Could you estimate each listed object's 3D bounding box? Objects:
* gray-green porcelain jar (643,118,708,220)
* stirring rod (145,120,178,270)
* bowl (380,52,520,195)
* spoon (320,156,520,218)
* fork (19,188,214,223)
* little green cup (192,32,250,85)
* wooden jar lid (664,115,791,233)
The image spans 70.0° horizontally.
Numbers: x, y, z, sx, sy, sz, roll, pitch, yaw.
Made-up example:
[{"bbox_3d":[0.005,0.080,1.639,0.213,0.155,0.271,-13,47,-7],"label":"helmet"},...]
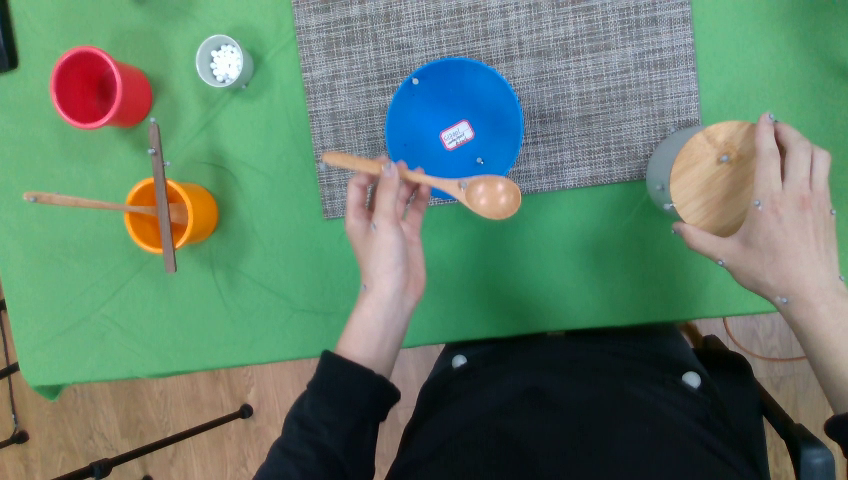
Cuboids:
[{"bbox_3d":[0.285,-0.071,0.618,0.106,0.126,0.106,1,100,8],"label":"gray-green porcelain jar"},{"bbox_3d":[-0.308,-0.052,0.712,0.014,0.006,0.176,-5,96,12],"label":"stirring rod"},{"bbox_3d":[0.033,-0.126,0.678,0.151,0.077,0.151,1,97,10],"label":"bowl"},{"bbox_3d":[-0.004,-0.058,0.578,0.194,0.021,0.041,13,93,-2],"label":"spoon"},{"bbox_3d":[-0.360,-0.042,0.725,0.209,0.018,0.028,6,103,-34],"label":"fork"},{"bbox_3d":[-0.245,-0.218,0.739,0.061,0.038,0.061,1,97,11],"label":"little green cup"},{"bbox_3d":[0.276,-0.060,0.558,0.108,0.020,0.108,1,99,8],"label":"wooden jar lid"}]
